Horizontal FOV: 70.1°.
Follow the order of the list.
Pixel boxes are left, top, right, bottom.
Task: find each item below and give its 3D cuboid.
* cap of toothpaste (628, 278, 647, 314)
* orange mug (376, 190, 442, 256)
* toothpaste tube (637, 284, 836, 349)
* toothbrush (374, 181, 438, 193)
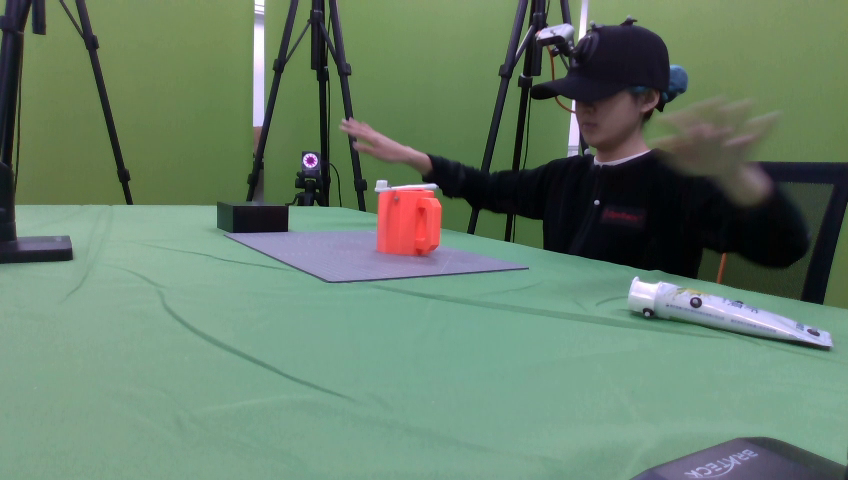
[{"bbox_3d":[0.209,0.055,0.589,0.011,0.037,0.037,12,11,29],"label":"cap of toothpaste"},{"bbox_3d":[-0.018,-0.028,0.914,0.084,0.100,0.125,-2,5,-38],"label":"orange mug"},{"bbox_3d":[0.275,0.070,0.550,0.164,0.034,0.055,11,15,28],"label":"toothpaste tube"},{"bbox_3d":[-0.023,-0.081,0.918,0.014,0.016,0.182,6,7,27],"label":"toothbrush"}]
